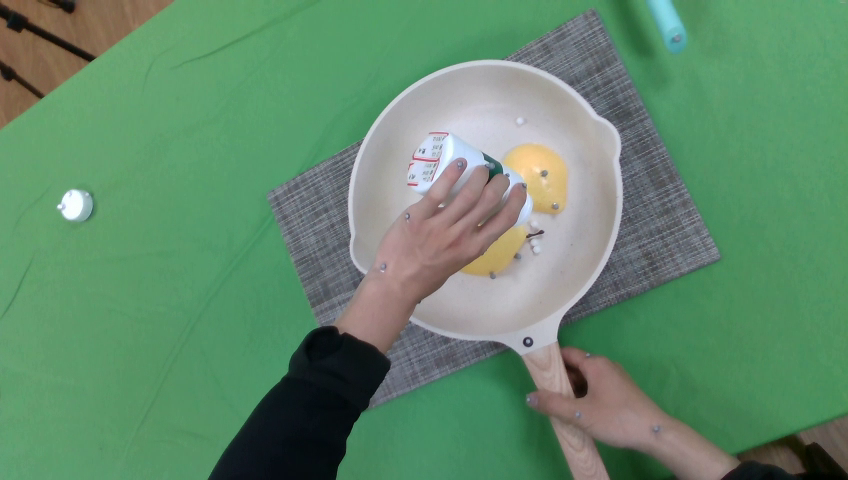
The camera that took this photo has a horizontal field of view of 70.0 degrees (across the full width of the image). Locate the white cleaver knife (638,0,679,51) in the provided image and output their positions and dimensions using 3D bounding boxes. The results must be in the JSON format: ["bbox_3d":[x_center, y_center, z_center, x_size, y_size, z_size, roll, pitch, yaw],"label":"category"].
[{"bbox_3d":[0.197,-0.321,0.626,0.021,0.066,0.285,-24,80,21],"label":"white cleaver knife"}]

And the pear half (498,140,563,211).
[{"bbox_3d":[0.116,-0.070,0.659,0.070,0.031,0.087,-43,73,16],"label":"pear half"}]

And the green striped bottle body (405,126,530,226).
[{"bbox_3d":[0.046,-0.054,0.571,0.063,0.120,0.062,-32,46,41],"label":"green striped bottle body"}]

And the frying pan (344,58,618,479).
[{"bbox_3d":[0.092,0.051,0.628,0.306,0.103,0.484,-24,73,17],"label":"frying pan"}]

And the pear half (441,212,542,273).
[{"bbox_3d":[0.072,-0.004,0.660,0.109,0.056,0.076,-13,90,15],"label":"pear half"}]

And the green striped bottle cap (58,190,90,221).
[{"bbox_3d":[-0.499,-0.049,0.864,0.044,0.020,0.044,-1,88,18],"label":"green striped bottle cap"}]
